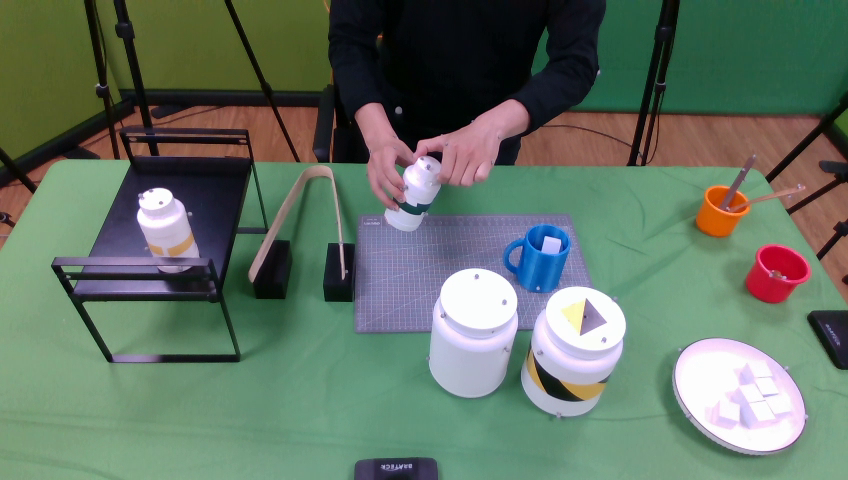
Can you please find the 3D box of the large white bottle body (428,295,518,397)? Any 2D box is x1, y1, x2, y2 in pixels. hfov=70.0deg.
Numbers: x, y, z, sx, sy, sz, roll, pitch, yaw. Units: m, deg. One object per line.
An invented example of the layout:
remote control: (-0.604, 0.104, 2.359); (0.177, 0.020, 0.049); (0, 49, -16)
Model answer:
large white bottle body: (0.075, 0.147, 0.950); (0.131, 0.185, 0.130); (2, 47, -2)

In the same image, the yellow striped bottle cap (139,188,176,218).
yellow striped bottle cap: (-0.363, -0.051, 0.826); (0.044, 0.019, 0.044); (0, 47, 0)

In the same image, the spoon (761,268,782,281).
spoon: (0.638, 0.060, 1.105); (0.041, 0.021, 0.194); (38, 11, 24)

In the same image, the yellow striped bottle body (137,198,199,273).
yellow striped bottle body: (-0.366, -0.014, 0.864); (0.063, 0.121, 0.062); (2, 46, -2)

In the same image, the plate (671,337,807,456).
plate: (0.504, 0.253, 0.984); (0.208, 0.039, 0.206); (2, 46, -2)

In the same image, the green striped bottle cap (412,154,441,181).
green striped bottle cap: (0.004, -0.113, 0.943); (0.044, 0.020, 0.044); (18, 41, -16)

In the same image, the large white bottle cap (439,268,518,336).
large white bottle cap: (0.080, 0.089, 0.888); (0.115, 0.018, 0.114); (2, 47, -2)

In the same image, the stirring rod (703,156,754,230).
stirring rod: (0.631, -0.098, 1.258); (0.014, 0.006, 0.176); (33, 95, 29)

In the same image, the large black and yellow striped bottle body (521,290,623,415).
large black and yellow striped bottle body: (0.228, 0.173, 0.937); (0.131, 0.185, 0.130); (2, 47, -2)

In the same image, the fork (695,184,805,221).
fork: (0.657, -0.075, 1.230); (0.207, 0.019, 0.028); (-23, 34, 37)

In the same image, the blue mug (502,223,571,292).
blue mug: (0.202, 0.031, 1.121); (0.116, 0.106, 0.082); (5, 47, 1)

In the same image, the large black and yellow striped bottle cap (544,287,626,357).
large black and yellow striped bottle cap: (0.232, 0.116, 0.876); (0.115, 0.019, 0.114); (2, 46, -1)

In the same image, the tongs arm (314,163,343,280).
tongs arm: (-0.188, -0.049, 1.170); (0.051, 0.026, 0.382); (-6, 35, -6)

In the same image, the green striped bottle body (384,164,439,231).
green striped bottle body: (-0.017, -0.075, 0.977); (0.063, 0.119, 0.063); (16, 42, -14)

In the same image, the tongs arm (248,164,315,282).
tongs arm: (-0.269, -0.047, 1.166); (0.028, 0.028, 0.385); (-1, 34, 7)
